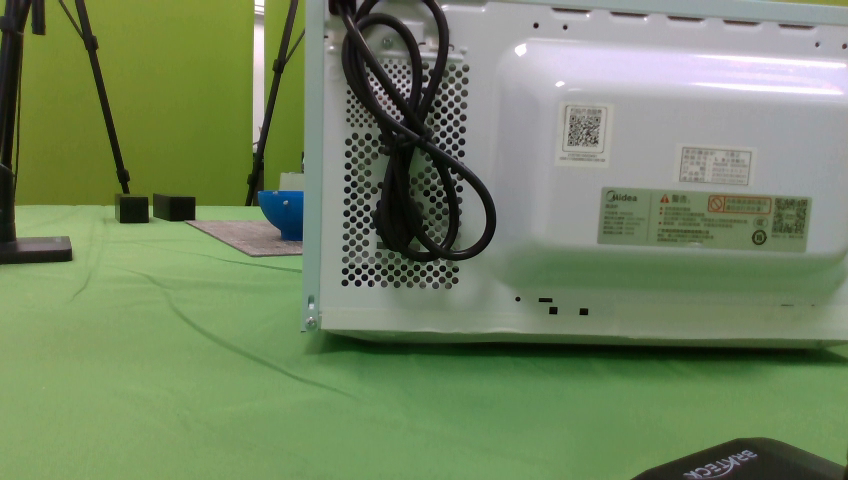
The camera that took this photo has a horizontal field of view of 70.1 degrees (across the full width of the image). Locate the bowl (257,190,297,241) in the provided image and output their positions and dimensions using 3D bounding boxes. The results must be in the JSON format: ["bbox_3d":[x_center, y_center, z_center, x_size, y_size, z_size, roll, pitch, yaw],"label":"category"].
[{"bbox_3d":[-0.206,-0.041,1.027,0.151,0.077,0.151,3,8,0],"label":"bowl"}]

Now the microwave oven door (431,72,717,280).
[{"bbox_3d":[0.177,-0.089,0.789,0.354,0.243,0.039,6,7,28],"label":"microwave oven door"}]

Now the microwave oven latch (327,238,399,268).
[{"bbox_3d":[-0.069,0.015,0.694,0.079,0.029,0.030,3,7,-3],"label":"microwave oven latch"}]

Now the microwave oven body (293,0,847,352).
[{"bbox_3d":[0.122,-0.055,0.550,0.442,0.260,0.325,3,7,-5],"label":"microwave oven body"}]

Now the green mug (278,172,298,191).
[{"bbox_3d":[-0.250,-0.089,1.279,0.092,0.105,0.126,9,9,40],"label":"green mug"}]
